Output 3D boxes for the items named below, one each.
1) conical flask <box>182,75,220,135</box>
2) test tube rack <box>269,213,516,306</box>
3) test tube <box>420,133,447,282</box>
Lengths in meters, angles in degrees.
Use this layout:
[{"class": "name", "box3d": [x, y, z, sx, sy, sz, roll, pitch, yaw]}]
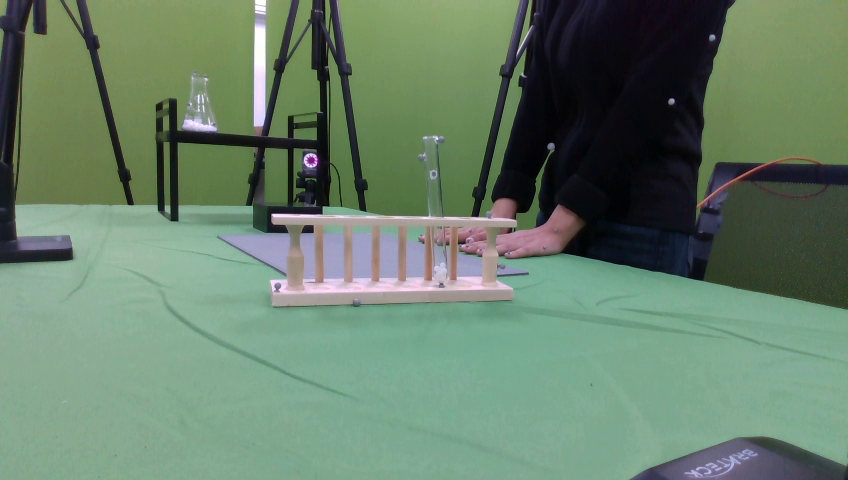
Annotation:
[{"class": "conical flask", "box3d": [-0.475, -0.287, 1.288, 0.075, 0.122, 0.075, 2, 7, 0]}, {"class": "test tube rack", "box3d": [-0.032, 0.015, 0.617, 0.243, 0.085, 0.066, 0, 7, -17]}, {"class": "test tube", "box3d": [0.010, -0.031, 0.607, 0.017, 0.150, 0.017, -5, 10, 1]}]
